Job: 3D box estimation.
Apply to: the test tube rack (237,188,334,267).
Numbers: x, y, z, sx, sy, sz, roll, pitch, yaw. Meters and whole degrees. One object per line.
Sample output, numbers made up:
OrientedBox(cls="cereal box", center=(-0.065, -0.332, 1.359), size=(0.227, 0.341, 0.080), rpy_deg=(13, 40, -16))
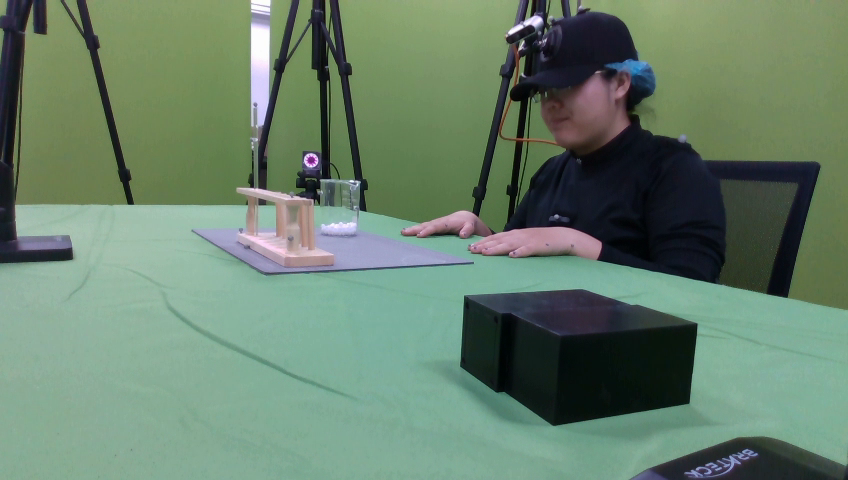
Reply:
OrientedBox(cls="test tube rack", center=(-0.202, -0.024, 0.855), size=(0.067, 0.085, 0.241), rpy_deg=(-2, 8, -30))

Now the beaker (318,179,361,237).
OrientedBox(cls="beaker", center=(-0.150, -0.058, 1.087), size=(0.083, 0.100, 0.074), rpy_deg=(10, 11, 40))

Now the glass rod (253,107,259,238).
OrientedBox(cls="glass rod", center=(-0.253, -0.101, 0.912), size=(0.008, 0.199, 0.008), rpy_deg=(1, 3, 0))
